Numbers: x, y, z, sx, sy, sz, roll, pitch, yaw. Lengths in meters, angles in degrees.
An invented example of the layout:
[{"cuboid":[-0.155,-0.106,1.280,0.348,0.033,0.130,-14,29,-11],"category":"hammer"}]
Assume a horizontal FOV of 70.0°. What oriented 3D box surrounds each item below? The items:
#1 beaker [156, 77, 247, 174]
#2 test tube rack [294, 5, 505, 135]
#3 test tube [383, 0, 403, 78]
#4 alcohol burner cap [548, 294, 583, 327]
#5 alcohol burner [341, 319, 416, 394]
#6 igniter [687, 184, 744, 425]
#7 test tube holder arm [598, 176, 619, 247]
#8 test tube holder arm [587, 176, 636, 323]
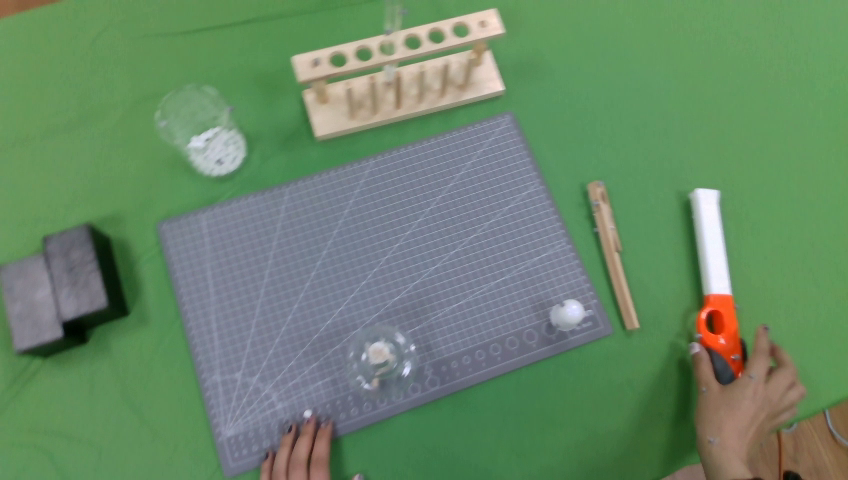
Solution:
[{"cuboid":[-0.245,-0.122,0.686,0.074,0.100,0.083,-16,75,-7],"category":"beaker"},{"cuboid":[-0.023,-0.202,0.725,0.242,0.085,0.066,-15,75,-6],"category":"test tube rack"},{"cuboid":[-0.035,-0.225,0.679,0.017,0.151,0.017,2,74,-5],"category":"test tube"},{"cuboid":[0.159,0.077,0.673,0.034,0.048,0.033,1,73,-2],"category":"alcohol burner cap"},{"cuboid":[-0.047,0.116,0.616,0.078,0.119,0.077,1,72,-3],"category":"alcohol burner"},{"cuboid":[0.332,0.068,0.693,0.057,0.025,0.275,4,74,-11],"category":"igniter"},{"cuboid":[0.216,-0.033,0.723,0.010,0.015,0.087,3,71,-37],"category":"test tube holder arm"},{"cuboid":[0.218,0.010,0.709,0.013,0.015,0.177,1,72,-37],"category":"test tube holder arm"}]
